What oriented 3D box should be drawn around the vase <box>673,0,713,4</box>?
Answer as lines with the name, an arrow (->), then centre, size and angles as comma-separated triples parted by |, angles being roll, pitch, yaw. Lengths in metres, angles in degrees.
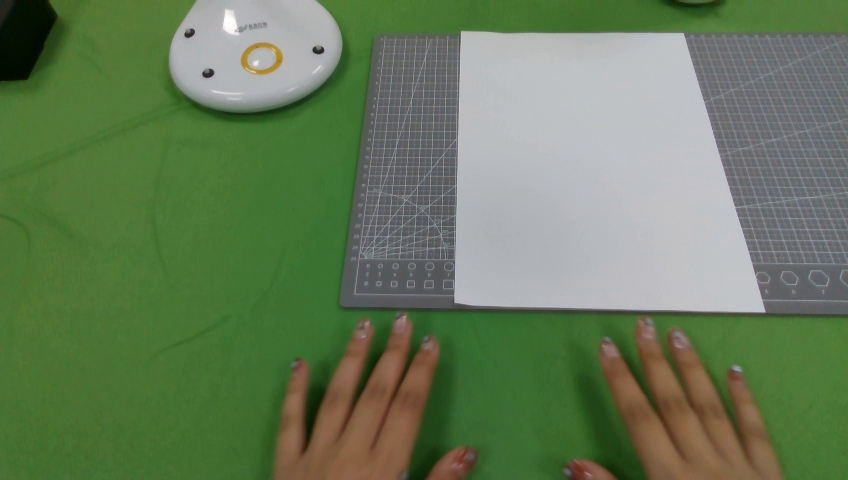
vase -> 0.263, -0.319, 0.541 | 0.098, 0.202, 0.097 | -2, 55, 3

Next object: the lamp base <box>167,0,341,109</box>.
lamp base -> -0.167, -0.233, 0.511 | 0.161, 0.182, 0.177 | -26, 56, -14
